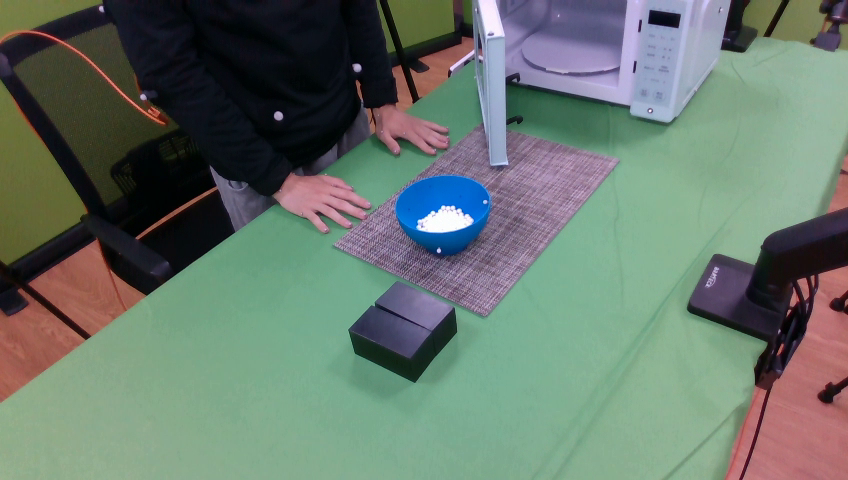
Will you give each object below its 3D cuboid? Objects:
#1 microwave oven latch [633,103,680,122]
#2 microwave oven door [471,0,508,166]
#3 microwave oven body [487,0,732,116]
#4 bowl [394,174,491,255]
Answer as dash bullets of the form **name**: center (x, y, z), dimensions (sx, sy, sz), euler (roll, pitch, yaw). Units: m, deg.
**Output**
- **microwave oven latch**: center (0.443, -0.249, 1.157), dimensions (0.078, 0.029, 0.030), euler (21, 48, 30)
- **microwave oven door**: center (0.122, -0.340, 1.153), dimensions (0.039, 0.245, 0.354), euler (-5, 40, 3)
- **microwave oven body**: center (0.377, -0.462, 1.267), dimensions (0.438, 0.261, 0.327), euler (21, 48, 30)
- **bowl**: center (0.032, -0.030, 0.949), dimensions (0.151, 0.077, 0.150), euler (-4, 40, 4)
